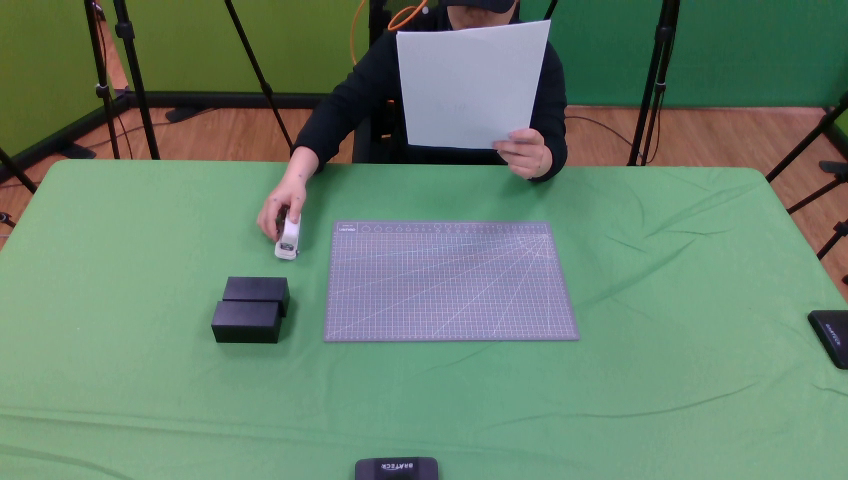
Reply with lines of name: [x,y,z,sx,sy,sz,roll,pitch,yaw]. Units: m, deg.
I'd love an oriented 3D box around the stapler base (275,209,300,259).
stapler base: [-0.264,-0.019,1.187,0.041,0.024,0.129,13,41,-18]

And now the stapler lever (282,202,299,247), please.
stapler lever: [-0.257,-0.037,1.172,0.027,0.040,0.117,13,42,-18]
